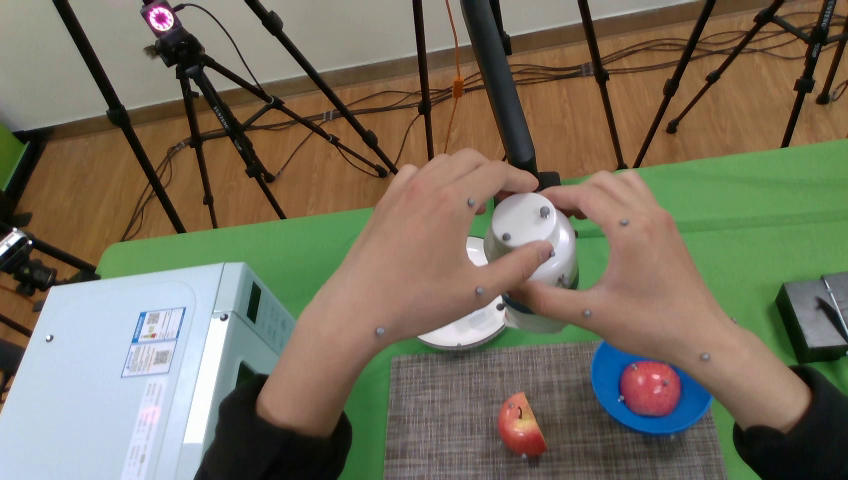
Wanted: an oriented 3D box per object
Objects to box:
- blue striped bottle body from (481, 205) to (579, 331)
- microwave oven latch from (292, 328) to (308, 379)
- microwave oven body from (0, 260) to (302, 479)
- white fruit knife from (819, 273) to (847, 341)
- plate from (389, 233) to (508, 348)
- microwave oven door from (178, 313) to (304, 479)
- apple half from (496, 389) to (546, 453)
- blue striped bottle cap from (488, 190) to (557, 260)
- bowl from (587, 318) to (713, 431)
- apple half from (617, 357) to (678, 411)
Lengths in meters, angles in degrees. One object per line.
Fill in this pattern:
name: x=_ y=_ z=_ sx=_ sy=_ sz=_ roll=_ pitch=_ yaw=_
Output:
blue striped bottle body: x=0.078 y=0.016 z=0.438 sx=0.063 sy=0.122 sz=0.062 roll=-8 pitch=58 yaw=13
microwave oven latch: x=-0.203 y=0.180 z=0.961 sx=0.030 sy=0.030 sz=0.078 roll=-8 pitch=55 yaw=10
microwave oven body: x=-0.369 y=0.291 z=0.809 sx=0.325 sy=0.263 sz=0.437 roll=-8 pitch=55 yaw=10
white fruit knife: x=0.544 y=0.139 z=0.767 sx=0.016 sy=0.027 sz=0.206 roll=-22 pitch=68 yaw=23
plate: x=0.048 y=0.084 z=0.980 sx=0.207 sy=0.039 sz=0.205 roll=-7 pitch=55 yaw=11
microwave oven door: x=-0.227 y=0.301 z=0.755 sx=0.039 sy=0.246 sz=0.352 roll=-9 pitch=54 yaw=11
apple half: x=0.125 y=0.249 z=0.815 sx=0.053 sy=0.075 sz=0.080 roll=-25 pitch=57 yaw=3
blue striped bottle cap: x=0.064 y=-0.010 z=0.395 sx=0.044 sy=0.021 sz=0.044 roll=-7 pitch=58 yaw=12
bowl: x=0.295 y=0.188 z=0.804 sx=0.151 sy=0.077 sz=0.150 roll=-8 pitch=54 yaw=12
apple half: x=0.296 y=0.186 z=0.800 sx=0.081 sy=0.033 sz=0.080 roll=-8 pitch=53 yaw=11
